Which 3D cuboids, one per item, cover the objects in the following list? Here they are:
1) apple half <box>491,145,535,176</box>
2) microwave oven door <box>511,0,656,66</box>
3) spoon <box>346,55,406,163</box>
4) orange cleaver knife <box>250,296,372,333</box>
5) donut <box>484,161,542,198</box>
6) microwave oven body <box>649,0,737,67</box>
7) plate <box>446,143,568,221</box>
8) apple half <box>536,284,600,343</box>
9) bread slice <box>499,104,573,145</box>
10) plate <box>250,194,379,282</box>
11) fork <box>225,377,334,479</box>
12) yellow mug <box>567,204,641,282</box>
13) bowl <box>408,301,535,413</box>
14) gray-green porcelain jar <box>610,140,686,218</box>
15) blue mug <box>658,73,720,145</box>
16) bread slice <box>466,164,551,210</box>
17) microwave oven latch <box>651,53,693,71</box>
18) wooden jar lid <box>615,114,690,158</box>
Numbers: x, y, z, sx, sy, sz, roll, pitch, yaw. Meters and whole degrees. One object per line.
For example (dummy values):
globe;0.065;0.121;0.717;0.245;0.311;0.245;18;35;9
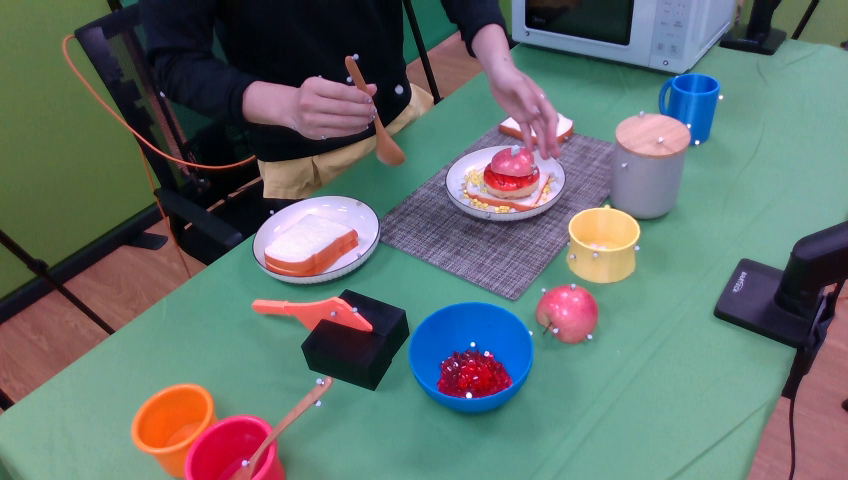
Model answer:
apple half;0.147;-0.138;0.993;0.081;0.033;0.081;0;37;0
microwave oven door;0.350;-0.539;1.348;0.353;0.245;0.039;24;50;31
spoon;-0.067;-0.167;0.805;0.041;0.195;0.021;-4;50;17
orange cleaver knife;-0.158;0.103;0.828;0.210;0.078;0.012;-4;43;39
donut;0.149;-0.109;1.016;0.099;0.048;0.098;-4;40;4
microwave oven body;0.475;-0.602;1.411;0.438;0.261;0.327;23;50;32
plate;0.142;-0.097;1.045;0.207;0.039;0.206;-4;40;4
apple half;0.196;0.091;0.815;0.075;0.053;0.080;-22;42;-20
bread slice;0.231;-0.231;1.206;0.105;0.019;0.130;-36;47;-28
plate;-0.174;-0.001;0.984;0.209;0.038;0.208;-3;40;3
fork;-0.163;0.216;0.646;0.207;0.019;0.028;-49;42;16
yellow mug;0.268;-0.005;0.905;0.099;0.064;0.130;7;42;15
bowl;0.060;0.156;0.739;0.151;0.077;0.150;-4;40;4
gray-green porcelain jar;0.354;-0.106;0.964;0.106;0.127;0.105;-4;41;4
blue mug;0.483;-0.250;1.127;0.082;0.106;0.115;-26;44;-19
bread slice;0.141;-0.093;1.042;0.133;0.018;0.107;10;42;19
microwave oven latch;0.532;-0.386;1.301;0.078;0.029;0.030;27;52;34
wooden jar lid;0.347;-0.155;0.923;0.108;0.021;0.108;-3;44;4
